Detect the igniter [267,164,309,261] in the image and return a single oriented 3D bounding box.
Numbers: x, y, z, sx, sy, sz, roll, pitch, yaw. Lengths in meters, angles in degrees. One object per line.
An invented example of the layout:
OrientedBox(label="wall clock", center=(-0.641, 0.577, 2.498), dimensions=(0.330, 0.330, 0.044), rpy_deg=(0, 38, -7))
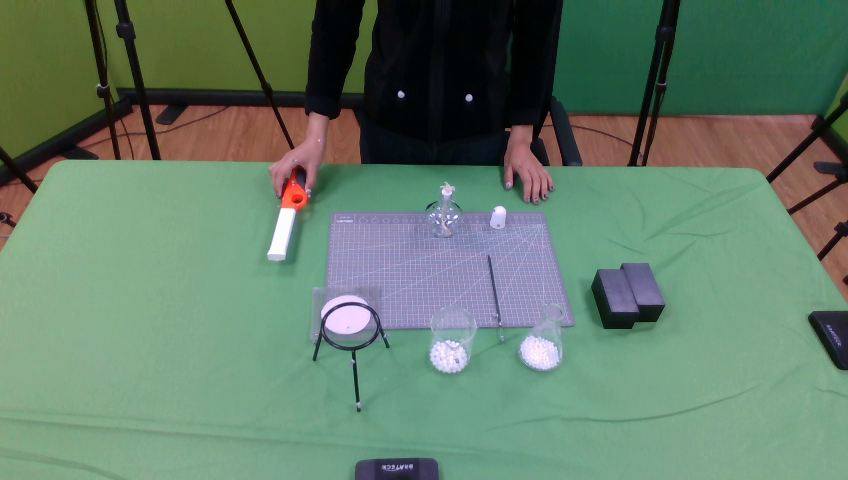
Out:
OrientedBox(label="igniter", center=(-0.272, -0.064, 1.217), dimensions=(0.057, 0.025, 0.275), rpy_deg=(3, 45, -1))

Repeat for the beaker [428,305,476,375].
OrientedBox(label="beaker", center=(0.044, 0.169, 0.987), dimensions=(0.074, 0.101, 0.083), rpy_deg=(1, 47, -3))

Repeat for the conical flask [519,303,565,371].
OrientedBox(label="conical flask", center=(0.201, 0.155, 0.997), dimensions=(0.075, 0.122, 0.075), rpy_deg=(2, 46, -2))

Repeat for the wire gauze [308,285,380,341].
OrientedBox(label="wire gauze", center=(-0.141, 0.128, 1.071), dimensions=(0.125, 0.011, 0.120), rpy_deg=(-1, 46, -5))

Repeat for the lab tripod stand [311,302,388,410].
OrientedBox(label="lab tripod stand", center=(-0.113, 0.168, 0.951), dimensions=(0.148, 0.132, 0.147), rpy_deg=(2, 44, -2))

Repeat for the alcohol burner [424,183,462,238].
OrientedBox(label="alcohol burner", center=(0.039, -0.063, 1.197), dimensions=(0.078, 0.119, 0.077), rpy_deg=(2, 44, -2))

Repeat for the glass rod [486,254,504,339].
OrientedBox(label="glass rod", center=(0.130, 0.099, 1.119), dimensions=(0.008, 0.008, 0.198), rpy_deg=(-1, 46, -4))

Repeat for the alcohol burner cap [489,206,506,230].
OrientedBox(label="alcohol burner cap", center=(0.152, -0.047, 1.241), dimensions=(0.034, 0.048, 0.033), rpy_deg=(2, 45, -2))
